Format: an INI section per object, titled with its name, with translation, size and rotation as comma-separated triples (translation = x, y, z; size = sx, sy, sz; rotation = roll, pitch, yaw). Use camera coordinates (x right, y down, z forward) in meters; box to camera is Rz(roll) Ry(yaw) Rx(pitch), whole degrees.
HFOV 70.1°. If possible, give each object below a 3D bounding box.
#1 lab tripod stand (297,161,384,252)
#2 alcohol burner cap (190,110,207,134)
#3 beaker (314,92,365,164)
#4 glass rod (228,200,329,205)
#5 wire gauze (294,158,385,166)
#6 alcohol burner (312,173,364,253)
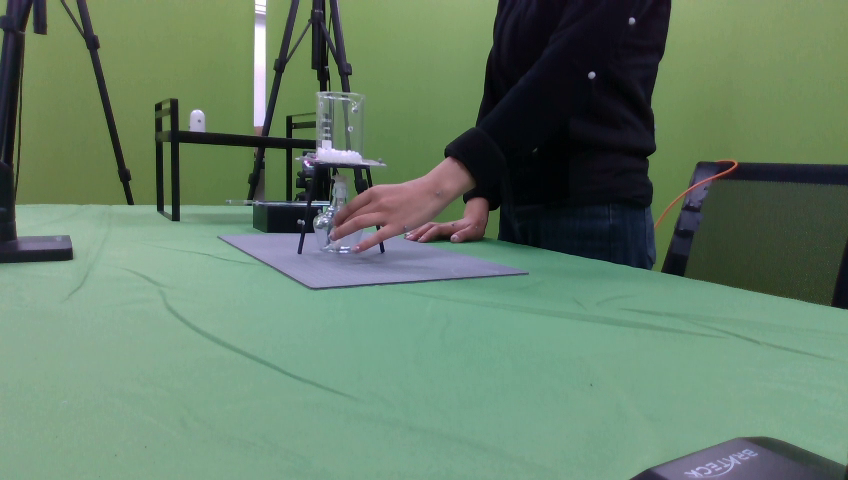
[lab tripod stand]
translation = -0.130, -0.051, 0.903
size = 0.148, 0.131, 0.148
rotation = 3, 9, 0
[alcohol burner cap]
translation = -0.464, -0.242, 1.240
size = 0.034, 0.048, 0.034
rotation = 1, 7, 0
[beaker]
translation = -0.123, -0.163, 0.893
size = 0.073, 0.100, 0.084
rotation = 8, 9, 31
[glass rod]
translation = -0.268, -0.071, 1.148
size = 0.201, 0.008, 0.008
rotation = -1, 8, -28
[wire gauze]
translation = -0.128, -0.116, 0.901
size = 0.125, 0.011, 0.121
rotation = -2, 8, -14
[alcohol burner]
translation = -0.127, -0.040, 0.901
size = 0.078, 0.119, 0.078
rotation = 5, 7, 0
